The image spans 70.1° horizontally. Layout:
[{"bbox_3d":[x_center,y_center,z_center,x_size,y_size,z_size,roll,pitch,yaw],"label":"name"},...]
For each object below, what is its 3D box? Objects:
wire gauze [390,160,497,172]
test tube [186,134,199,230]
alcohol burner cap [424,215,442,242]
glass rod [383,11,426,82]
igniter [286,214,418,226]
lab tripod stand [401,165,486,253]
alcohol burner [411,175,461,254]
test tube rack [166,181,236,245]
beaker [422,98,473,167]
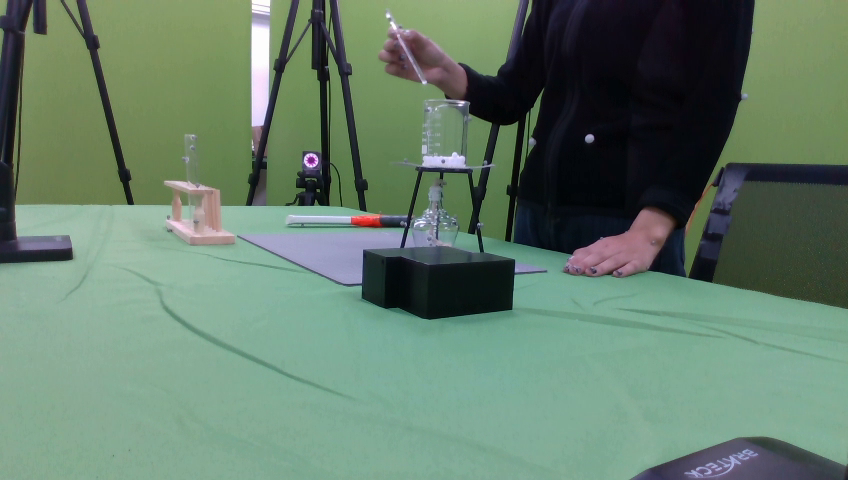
[{"bbox_3d":[0.028,-0.114,0.920,0.122,0.011,0.124,-5,13,-34],"label":"wire gauze"},{"bbox_3d":[-0.360,-0.089,0.946,0.017,0.150,0.017,0,10,0],"label":"test tube"},{"bbox_3d":[0.017,-0.022,1.098,0.034,0.048,0.034,2,8,0],"label":"alcohol burner cap"},{"bbox_3d":[-0.033,-0.315,0.971,0.008,0.008,0.199,-2,48,-29],"label":"glass rod"},{"bbox_3d":[-0.145,-0.043,1.263,0.278,0.025,0.057,-1,-2,-24],"label":"igniter"},{"bbox_3d":[0.028,-0.049,0.930,0.148,0.131,0.148,2,9,0],"label":"lab tripod stand"},{"bbox_3d":[0.018,-0.040,0.931,0.078,0.119,0.078,0,7,0],"label":"alcohol burner"},{"bbox_3d":[-0.383,-0.051,1.024,0.067,0.085,0.241,-2,9,-31],"label":"test tube rack"},{"bbox_3d":[0.031,-0.162,0.919,0.074,0.100,0.083,-4,10,-36],"label":"beaker"}]
